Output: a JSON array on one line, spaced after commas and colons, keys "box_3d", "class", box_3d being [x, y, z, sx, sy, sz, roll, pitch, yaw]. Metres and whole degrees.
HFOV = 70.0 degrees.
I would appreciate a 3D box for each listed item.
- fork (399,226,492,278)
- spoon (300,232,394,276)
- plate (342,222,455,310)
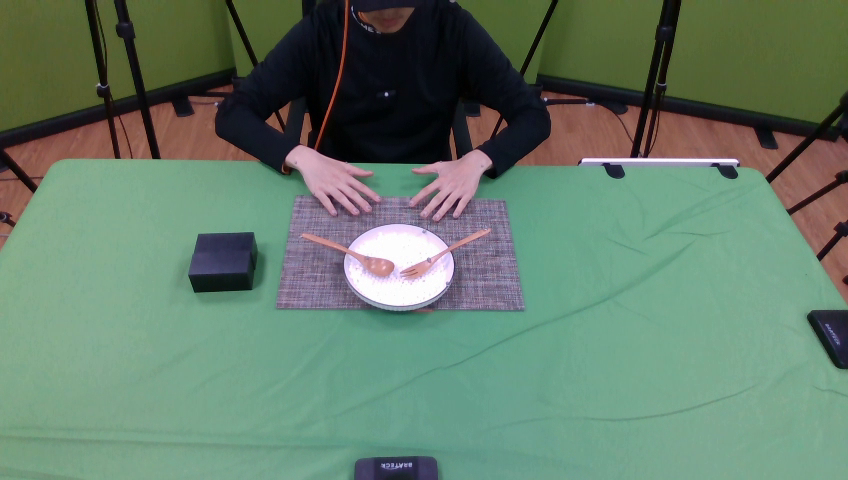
[{"box_3d": [0.044, 0.021, 1.144, 0.207, 0.019, 0.028, -29, 53, -18], "class": "fork"}, {"box_3d": [-0.145, 0.020, 1.126, 0.193, 0.022, 0.041, 24, 54, 8], "class": "spoon"}, {"box_3d": [-0.047, 0.052, 1.127, 0.209, 0.038, 0.208, 2, 46, -2], "class": "plate"}]
